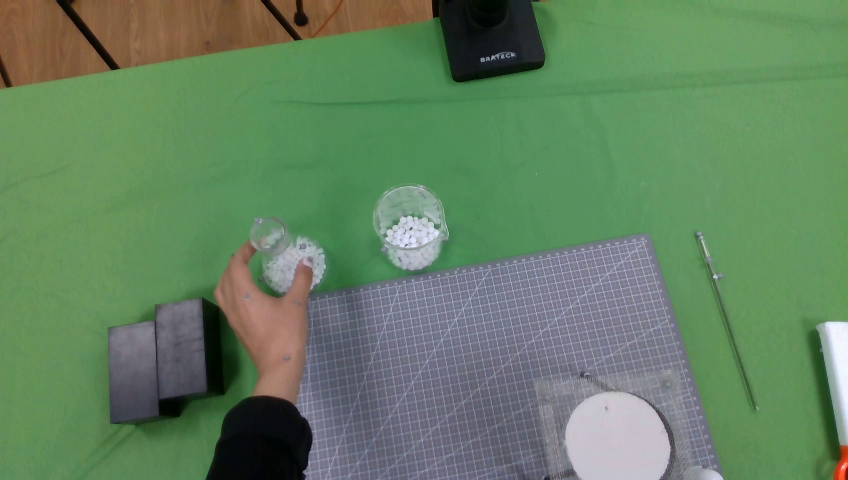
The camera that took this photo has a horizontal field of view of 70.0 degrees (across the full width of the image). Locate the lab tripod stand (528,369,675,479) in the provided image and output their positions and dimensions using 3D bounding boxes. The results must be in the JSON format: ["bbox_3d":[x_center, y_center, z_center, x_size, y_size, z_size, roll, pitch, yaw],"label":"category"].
[{"bbox_3d":[0.168,0.193,0.575,0.148,0.132,0.147,0,74,2],"label":"lab tripod stand"}]

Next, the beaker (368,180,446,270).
[{"bbox_3d":[-0.014,-0.011,0.664,0.084,0.101,0.074,24,75,8],"label":"beaker"}]

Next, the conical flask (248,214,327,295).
[{"bbox_3d":[-0.151,0.011,0.648,0.075,0.122,0.075,0,73,2],"label":"conical flask"}]

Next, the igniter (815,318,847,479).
[{"bbox_3d":[0.441,0.217,0.619,0.057,0.025,0.275,4,73,-8],"label":"igniter"}]

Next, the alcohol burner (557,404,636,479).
[{"bbox_3d":[0.169,0.197,0.584,0.078,0.120,0.077,-1,73,4],"label":"alcohol burner"}]

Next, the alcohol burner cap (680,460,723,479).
[{"bbox_3d":[0.281,0.239,0.606,0.034,0.048,0.033,0,73,2],"label":"alcohol burner cap"}]

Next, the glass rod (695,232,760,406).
[{"bbox_3d":[0.336,0.084,0.672,0.008,0.008,0.198,-11,72,-2],"label":"glass rod"}]

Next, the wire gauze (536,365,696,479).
[{"bbox_3d":[0.163,0.172,0.511,0.125,0.011,0.121,-5,74,1],"label":"wire gauze"}]
